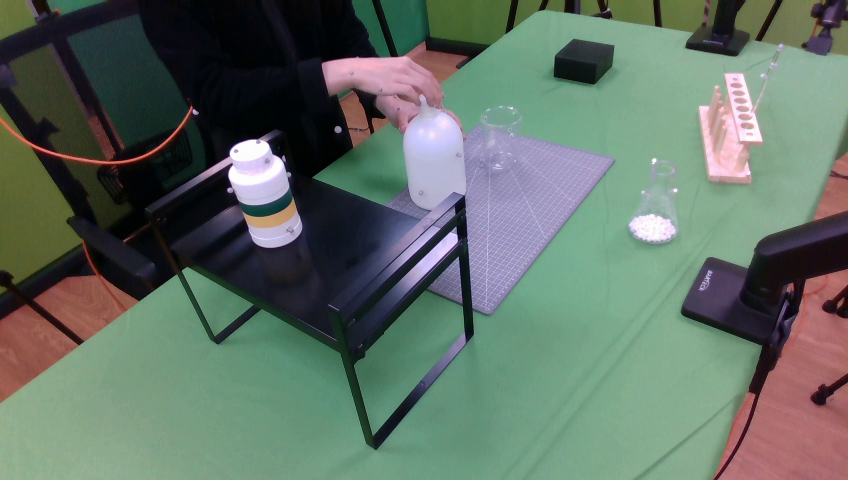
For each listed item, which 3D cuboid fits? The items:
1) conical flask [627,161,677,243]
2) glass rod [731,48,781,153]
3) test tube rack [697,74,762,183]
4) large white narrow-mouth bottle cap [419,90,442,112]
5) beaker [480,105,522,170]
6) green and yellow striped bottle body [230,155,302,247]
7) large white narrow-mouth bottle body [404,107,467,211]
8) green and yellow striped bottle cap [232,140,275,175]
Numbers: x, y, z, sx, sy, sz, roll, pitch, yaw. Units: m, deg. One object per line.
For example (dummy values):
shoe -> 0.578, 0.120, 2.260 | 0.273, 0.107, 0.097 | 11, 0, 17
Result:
conical flask -> 0.355, -0.061, 0.921 | 0.075, 0.122, 0.075 | -4, 41, 4
glass rod -> 0.554, -0.228, 1.014 | 0.008, 0.200, 0.008 | 1, 44, -1
test tube rack -> 0.547, -0.208, 1.095 | 0.066, 0.085, 0.242 | 5, 42, 15
large white narrow-mouth bottle cap -> 0.010, -0.221, 0.962 | 0.038, 0.024, 0.037 | -4, 38, 4
beaker -> 0.145, -0.187, 1.111 | 0.084, 0.101, 0.073 | -35, 48, -29
green and yellow striped bottle body -> -0.188, -0.055, 0.714 | 0.063, 0.120, 0.063 | -4, 41, 4
large white narrow-mouth bottle body -> 0.018, -0.152, 1.017 | 0.102, 0.195, 0.101 | -4, 39, 4
green and yellow striped bottle cap -> -0.192, -0.093, 0.680 | 0.045, 0.020, 0.045 | -5, 39, 5
